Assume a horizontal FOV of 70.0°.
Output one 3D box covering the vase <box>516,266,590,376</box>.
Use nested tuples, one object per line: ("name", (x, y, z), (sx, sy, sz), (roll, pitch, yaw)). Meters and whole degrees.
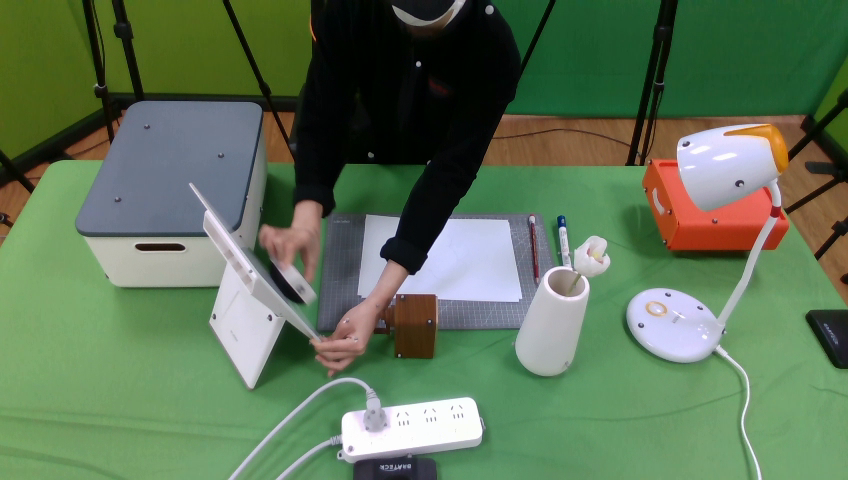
("vase", (0.208, 0.132, 0.964), (0.098, 0.201, 0.097), (3, 46, -3))

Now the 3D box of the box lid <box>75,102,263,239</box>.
("box lid", (-0.443, -0.138, 1.094), (0.263, 0.015, 0.369), (-1, 47, -5))

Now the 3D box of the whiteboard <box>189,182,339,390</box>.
("whiteboard", (-0.292, 0.096, 0.929), (0.144, 0.307, 0.216), (-37, 57, -10))

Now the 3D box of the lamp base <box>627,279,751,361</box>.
("lamp base", (0.459, 0.100, 1.027), (0.178, 0.181, 0.160), (27, 51, 17))

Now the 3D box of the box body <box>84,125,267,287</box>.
("box body", (-0.446, -0.088, 1.150), (0.254, 0.161, 0.361), (-1, 46, -5))

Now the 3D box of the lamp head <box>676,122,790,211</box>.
("lamp head", (0.423, -0.104, 0.819), (0.122, 0.113, 0.112), (-13, 33, 40))

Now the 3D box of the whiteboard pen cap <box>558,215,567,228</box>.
("whiteboard pen cap", (0.284, -0.035, 1.245), (0.018, 0.018, 0.033), (4, 52, -1))

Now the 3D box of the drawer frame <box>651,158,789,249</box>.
("drawer frame", (0.571, -0.075, 1.214), (0.214, 0.083, 0.200), (0, 46, -1))

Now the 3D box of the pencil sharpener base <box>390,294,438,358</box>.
("pencil sharpener base", (-0.018, 0.143, 1.000), (0.077, 0.107, 0.061), (1, 46, -2))

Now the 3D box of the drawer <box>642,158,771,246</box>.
("drawer", (0.565, -0.076, 1.211), (0.212, 0.073, 0.193), (2, 45, -2))

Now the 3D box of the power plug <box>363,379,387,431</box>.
("power plug", (-0.072, 0.252, 0.910), (0.035, 0.053, 0.072), (3, 45, -1))

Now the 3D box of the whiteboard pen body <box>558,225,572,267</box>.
("whiteboard pen body", (0.280, 0.010, 1.207), (0.017, 0.017, 0.140), (3, 50, -1))

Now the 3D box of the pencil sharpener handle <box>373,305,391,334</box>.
("pencil sharpener handle", (-0.068, 0.133, 0.989), (0.030, 0.068, 0.036), (1, 47, -2))

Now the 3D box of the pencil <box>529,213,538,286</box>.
("pencil", (0.219, 0.016, 1.204), (0.012, 0.012, 0.193), (5, 47, 0))

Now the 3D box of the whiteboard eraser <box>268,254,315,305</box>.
("whiteboard eraser", (-0.217, 0.064, 0.971), (0.042, 0.056, 0.112), (-43, 30, -9))

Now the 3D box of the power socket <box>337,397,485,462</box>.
("power socket", (-0.018, 0.285, 0.915), (0.227, 0.033, 0.071), (-5, 46, -8))

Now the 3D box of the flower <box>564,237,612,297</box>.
("flower", (0.206, 0.088, 0.893), (0.038, 0.363, 0.044), (-16, 67, -9))
